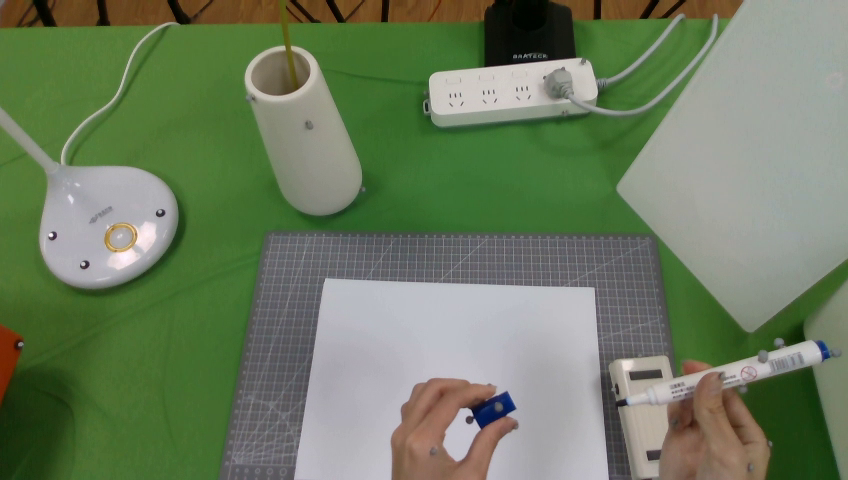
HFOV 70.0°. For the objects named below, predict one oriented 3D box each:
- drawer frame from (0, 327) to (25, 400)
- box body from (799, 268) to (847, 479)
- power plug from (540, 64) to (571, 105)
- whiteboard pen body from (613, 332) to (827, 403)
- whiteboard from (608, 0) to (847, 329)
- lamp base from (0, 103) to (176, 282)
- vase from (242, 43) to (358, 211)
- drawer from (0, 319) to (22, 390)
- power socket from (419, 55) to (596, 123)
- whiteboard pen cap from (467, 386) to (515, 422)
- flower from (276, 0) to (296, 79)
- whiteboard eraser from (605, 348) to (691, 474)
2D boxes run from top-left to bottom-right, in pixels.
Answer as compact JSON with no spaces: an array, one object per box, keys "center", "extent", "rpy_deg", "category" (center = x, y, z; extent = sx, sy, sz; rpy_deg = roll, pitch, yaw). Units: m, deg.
[{"center":[-0.522,0.159,0.551],"extent":[0.213,0.083,0.200],"rpy_deg":[4,64,2],"category":"drawer frame"},{"center":[0.495,0.186,0.487],"extent":[0.254,0.161,0.361],"rpy_deg":[0,63,3],"category":"box body"},{"center":[0.158,-0.182,0.738],"extent":[0.035,0.053,0.072],"rpy_deg":[4,65,6],"category":"power plug"},{"center":[0.197,0.089,0.410],"extent":[0.141,0.017,0.017],"rpy_deg":[-19,62,8],"category":"whiteboard pen body"},{"center":[0.366,-0.096,0.591],"extent":[0.144,0.307,0.215],"rpy_deg":[-20,61,-28],"category":"whiteboard"},{"center":[-0.388,-0.066,0.650],"extent":[0.178,0.182,0.160],"rpy_deg":[31,68,20],"category":"lamp base"},{"center":[-0.132,-0.115,0.651],"extent":[0.098,0.201,0.097],"rpy_deg":[-2,62,4],"category":"vase"},{"center":[-0.516,0.157,0.549],"extent":[0.211,0.074,0.193],"rpy_deg":[3,64,4],"category":"drawer"},{"center":[0.107,-0.192,0.772],"extent":[0.227,0.033,0.071],"rpy_deg":[-5,64,0],"category":"power socket"},{"center":[0.050,0.122,0.455],"extent":[0.033,0.018,0.018],"rpy_deg":[-27,64,-2],"category":"whiteboard pen cap"},{"center":[-0.129,-0.168,0.586],"extent":[0.038,0.365,0.043],"rpy_deg":[-11,45,-10],"category":"flower"},{"center":[0.212,0.162,0.579],"extent":[0.055,0.042,0.111],"rpy_deg":[-4,63,-1],"category":"whiteboard eraser"}]
